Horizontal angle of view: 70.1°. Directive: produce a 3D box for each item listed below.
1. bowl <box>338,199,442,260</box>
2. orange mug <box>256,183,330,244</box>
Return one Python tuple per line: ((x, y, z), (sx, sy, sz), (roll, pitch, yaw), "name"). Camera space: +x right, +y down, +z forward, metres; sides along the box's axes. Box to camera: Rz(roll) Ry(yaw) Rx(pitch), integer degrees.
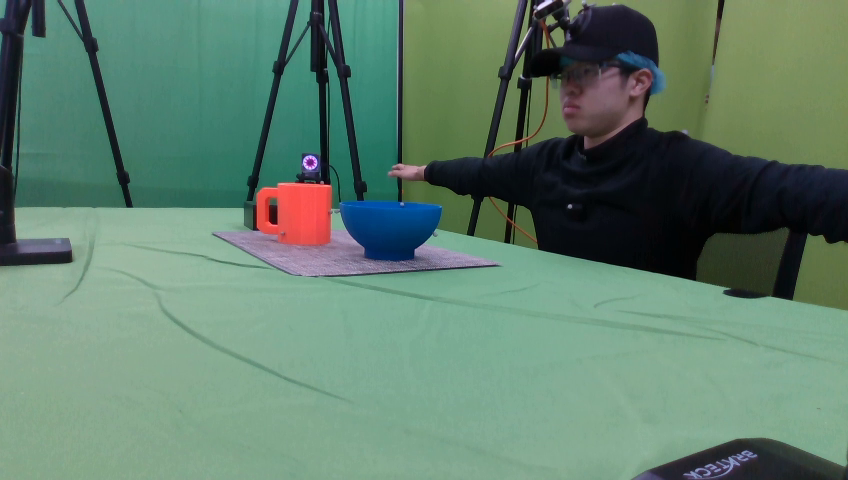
((-0.050, -0.015, 0.878), (0.151, 0.077, 0.151), (2, 8, 0), "bowl")
((-0.216, -0.047, 0.999), (0.126, 0.100, 0.083), (7, 8, 8), "orange mug")
